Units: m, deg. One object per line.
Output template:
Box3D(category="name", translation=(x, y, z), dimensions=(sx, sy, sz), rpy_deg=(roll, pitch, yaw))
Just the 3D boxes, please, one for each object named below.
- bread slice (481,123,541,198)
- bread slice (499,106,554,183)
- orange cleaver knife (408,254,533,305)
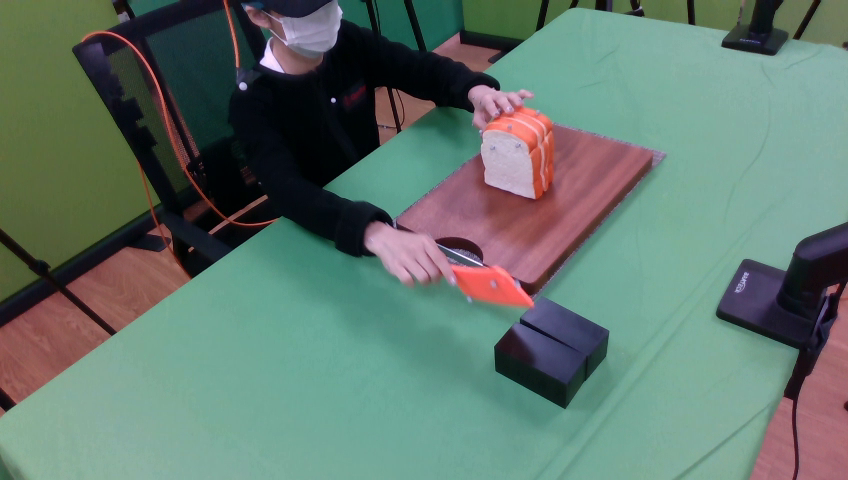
Box3D(category="bread slice", translation=(0.137, -0.129, 0.978), dimensions=(0.104, 0.132, 0.019), rpy_deg=(21, 55, 30))
Box3D(category="bread slice", translation=(0.169, -0.159, 1.005), dimensions=(0.106, 0.135, 0.018), rpy_deg=(23, 54, 24))
Box3D(category="orange cleaver knife", translation=(0.055, 0.051, 0.796), dimensions=(0.209, 0.077, 0.012), rpy_deg=(8, 50, 52))
